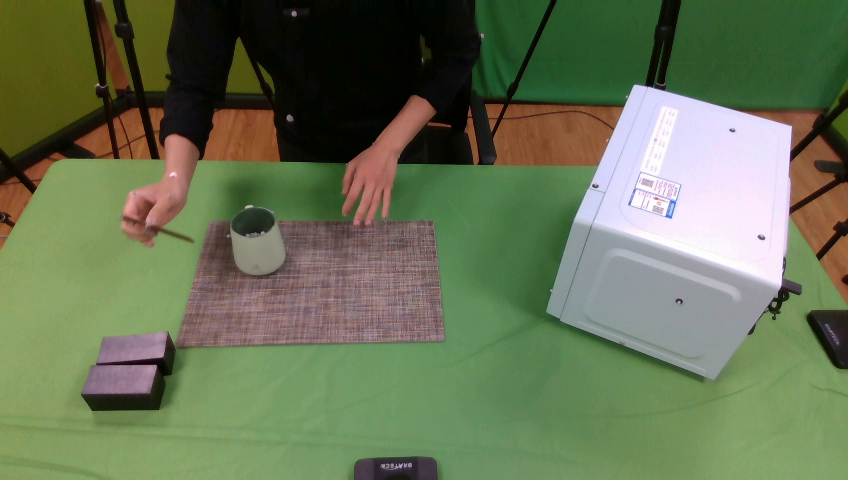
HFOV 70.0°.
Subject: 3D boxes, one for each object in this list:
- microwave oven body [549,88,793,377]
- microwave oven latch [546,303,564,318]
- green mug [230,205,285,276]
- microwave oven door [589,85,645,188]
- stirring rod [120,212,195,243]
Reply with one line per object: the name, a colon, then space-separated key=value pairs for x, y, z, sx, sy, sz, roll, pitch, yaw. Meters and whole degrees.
microwave oven body: x=0.456 y=-0.028 z=1.087 sx=0.325 sy=0.261 sz=0.440 roll=20 pitch=47 yaw=16
microwave oven latch: x=0.242 y=0.102 z=1.081 sx=0.030 sy=0.029 sz=0.079 roll=21 pitch=48 yaw=17
green mug: x=-0.311 y=-0.008 z=1.118 sx=0.092 sy=0.105 sz=0.124 roll=-14 pitch=48 yaw=-16
microwave oven door: x=0.342 y=-0.107 z=1.148 sx=0.039 sy=0.245 sz=0.354 roll=20 pitch=48 yaw=15
stirring rod: x=-0.413 y=-0.018 z=0.950 sx=0.014 sy=0.177 sz=0.006 roll=33 pitch=87 yaw=17
